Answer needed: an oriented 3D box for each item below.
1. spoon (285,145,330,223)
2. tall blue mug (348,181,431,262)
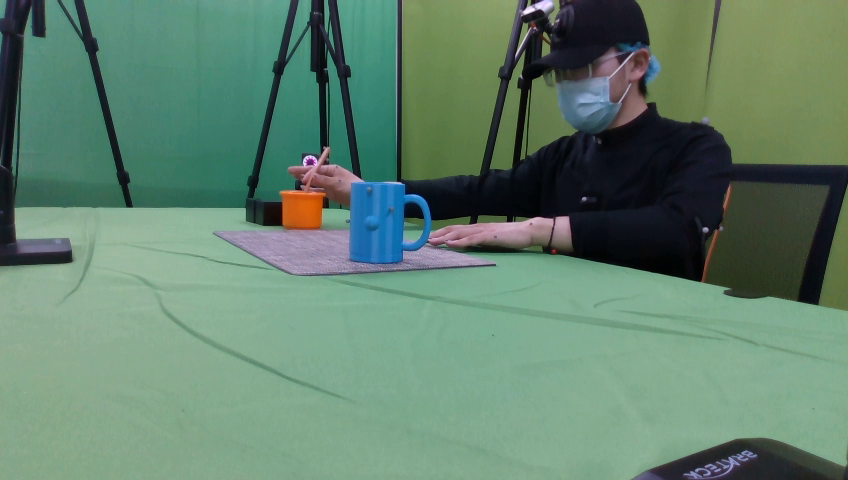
[{"bbox_3d":[-0.233,-0.116,1.233,0.041,0.193,0.022,3,-25,40],"label":"spoon"},{"bbox_3d":[-0.052,-0.028,0.849,0.108,0.108,0.077,-1,7,-22],"label":"tall blue mug"}]
